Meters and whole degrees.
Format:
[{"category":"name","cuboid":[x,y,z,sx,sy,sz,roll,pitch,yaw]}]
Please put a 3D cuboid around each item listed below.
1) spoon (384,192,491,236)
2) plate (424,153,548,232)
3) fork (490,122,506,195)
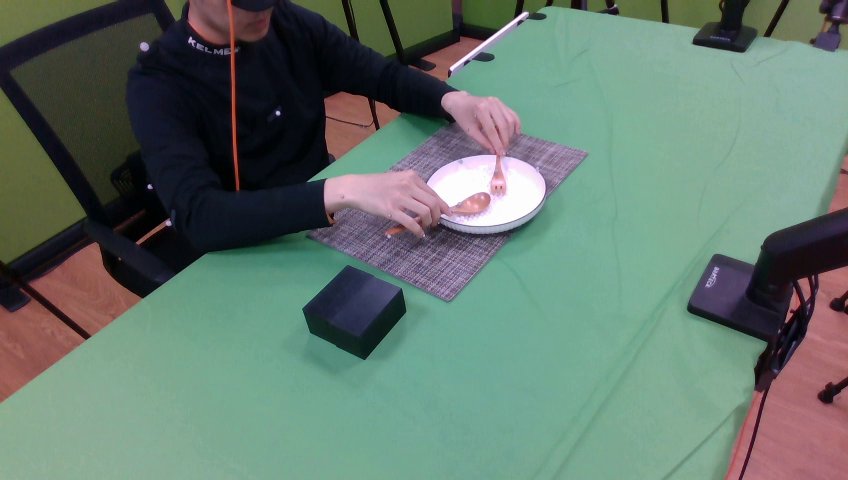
[{"category":"spoon","cuboid":[0.023,-0.042,0.970,0.195,0.022,0.041,-17,48,-22]},{"category":"plate","cuboid":[0.105,-0.077,1.024,0.209,0.038,0.208,-4,40,4]},{"category":"fork","cuboid":[0.133,-0.149,1.082,0.028,0.019,0.206,1,50,6]}]
